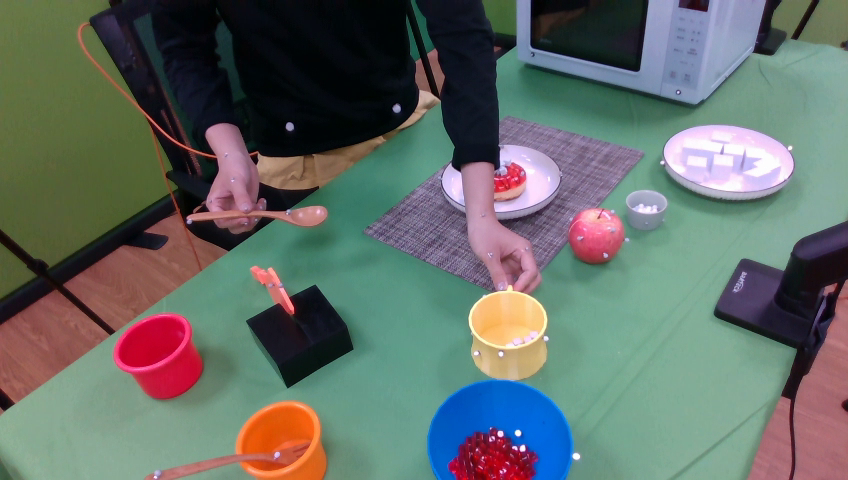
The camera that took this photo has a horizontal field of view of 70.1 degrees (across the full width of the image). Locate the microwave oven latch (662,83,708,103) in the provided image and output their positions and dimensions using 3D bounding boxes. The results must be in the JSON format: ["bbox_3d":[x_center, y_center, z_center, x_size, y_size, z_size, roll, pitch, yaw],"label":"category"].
[{"bbox_3d":[0.518,-0.296,1.204,0.078,0.029,0.030,28,52,35],"label":"microwave oven latch"}]

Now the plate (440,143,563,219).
[{"bbox_3d":[0.134,-0.098,1.051,0.209,0.038,0.208,-4,40,4],"label":"plate"}]

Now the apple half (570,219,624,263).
[{"bbox_3d":[0.250,0.010,0.885,0.081,0.081,0.033,7,39,17],"label":"apple half"}]

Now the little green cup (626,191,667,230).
[{"bbox_3d":[0.352,-0.046,0.963,0.061,0.039,0.061,-4,40,4],"label":"little green cup"}]

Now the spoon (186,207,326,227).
[{"bbox_3d":[-0.240,-0.035,0.875,0.195,0.021,0.041,1,47,-21],"label":"spoon"}]

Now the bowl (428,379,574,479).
[{"bbox_3d":[0.082,0.233,0.644,0.151,0.077,0.150,-4,40,4],"label":"bowl"}]

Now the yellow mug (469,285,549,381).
[{"bbox_3d":[0.112,0.112,0.792,0.100,0.064,0.130,0,40,9],"label":"yellow mug"}]

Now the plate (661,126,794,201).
[{"bbox_3d":[0.513,-0.127,1.035,0.207,0.039,0.206,-4,40,4],"label":"plate"}]

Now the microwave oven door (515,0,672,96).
[{"bbox_3d":[0.344,-0.454,1.259,0.353,0.245,0.039,26,51,33],"label":"microwave oven door"}]

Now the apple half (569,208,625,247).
[{"bbox_3d":[0.262,-0.014,0.913,0.080,0.075,0.053,5,37,20],"label":"apple half"}]

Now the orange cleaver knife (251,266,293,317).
[{"bbox_3d":[-0.221,0.071,0.873,0.012,0.077,0.210,-25,11,-21],"label":"orange cleaver knife"}]

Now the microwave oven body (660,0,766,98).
[{"bbox_3d":[0.472,-0.513,1.317,0.438,0.261,0.327,26,51,34],"label":"microwave oven body"}]

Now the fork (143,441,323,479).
[{"bbox_3d":[-0.189,0.231,0.631,0.028,0.018,0.209,35,13,37],"label":"fork"}]

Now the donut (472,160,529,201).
[{"bbox_3d":[0.132,-0.105,1.043,0.099,0.048,0.098,-5,37,4],"label":"donut"}]
